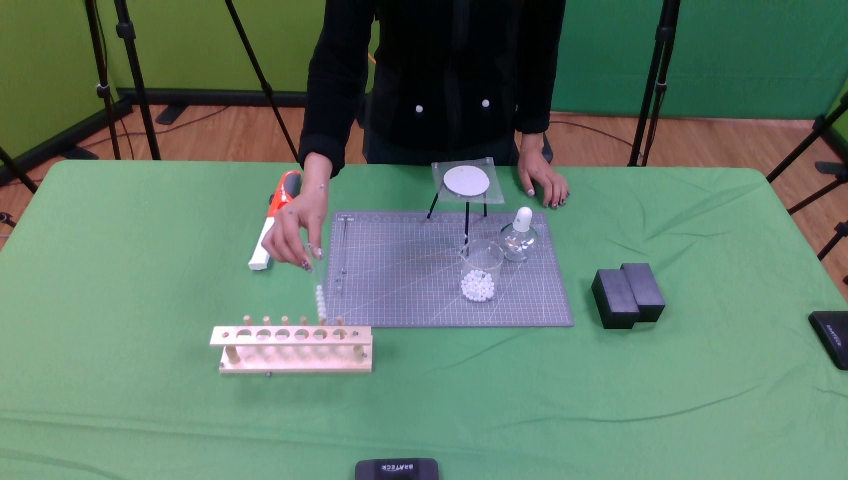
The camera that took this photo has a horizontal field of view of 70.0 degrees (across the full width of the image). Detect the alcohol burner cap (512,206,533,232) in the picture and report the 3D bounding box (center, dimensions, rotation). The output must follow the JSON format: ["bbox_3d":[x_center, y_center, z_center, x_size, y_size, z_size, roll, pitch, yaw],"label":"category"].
[{"bbox_3d":[0.186,-0.042,1.134,0.034,0.048,0.033,6,41,-5],"label":"alcohol burner cap"}]

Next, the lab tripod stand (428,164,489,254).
[{"bbox_3d":[0.078,-0.068,1.188,0.148,0.132,0.147,3,47,-3],"label":"lab tripod stand"}]

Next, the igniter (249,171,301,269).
[{"bbox_3d":[-0.297,-0.049,1.220,0.057,0.025,0.275,-1,45,9],"label":"igniter"}]

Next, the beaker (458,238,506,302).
[{"bbox_3d":[0.099,0.057,1.092,0.084,0.101,0.073,6,46,3],"label":"beaker"}]

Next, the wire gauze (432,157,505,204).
[{"bbox_3d":[0.081,-0.112,1.137,0.125,0.011,0.120,-2,48,-6],"label":"wire gauze"}]

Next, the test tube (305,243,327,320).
[{"bbox_3d":[-0.157,0.064,0.886,0.017,0.151,0.017,0,41,0],"label":"test tube"}]

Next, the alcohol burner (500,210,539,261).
[{"bbox_3d":[0.185,-0.016,1.159,0.078,0.119,0.077,2,48,-2],"label":"alcohol burner"}]

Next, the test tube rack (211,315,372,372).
[{"bbox_3d":[-0.208,0.164,0.982,0.242,0.085,0.066,1,46,-4],"label":"test tube rack"}]

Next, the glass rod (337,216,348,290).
[{"bbox_3d":[-0.158,0.022,1.171,0.008,0.008,0.198,1,43,-2],"label":"glass rod"}]
